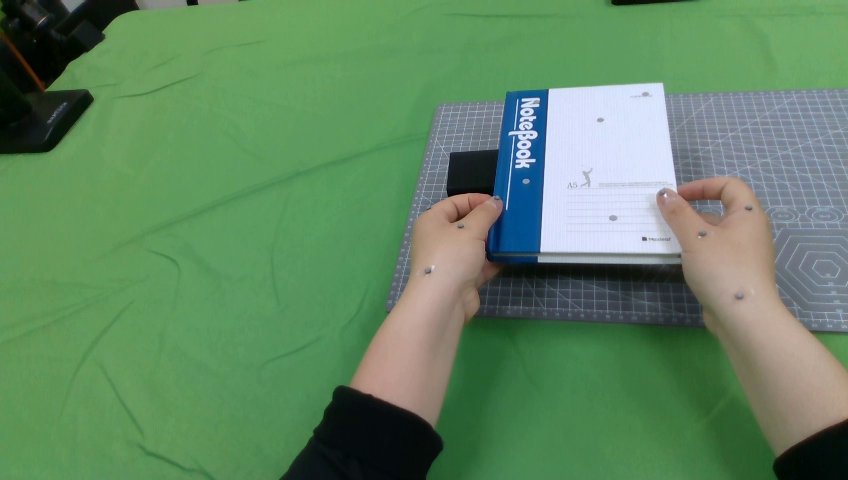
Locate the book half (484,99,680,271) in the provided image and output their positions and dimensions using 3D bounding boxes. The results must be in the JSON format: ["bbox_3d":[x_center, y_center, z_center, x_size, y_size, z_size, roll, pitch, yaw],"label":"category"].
[{"bbox_3d":[0.135,-0.059,0.529,0.148,0.016,0.208,0,49,14],"label":"book half"}]

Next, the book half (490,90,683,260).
[{"bbox_3d":[0.137,-0.064,0.523,0.143,0.007,0.208,1,48,13],"label":"book half"}]
